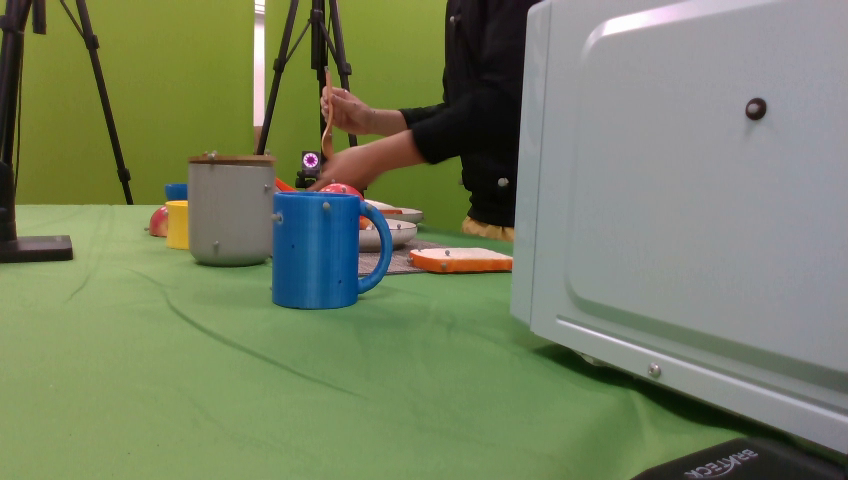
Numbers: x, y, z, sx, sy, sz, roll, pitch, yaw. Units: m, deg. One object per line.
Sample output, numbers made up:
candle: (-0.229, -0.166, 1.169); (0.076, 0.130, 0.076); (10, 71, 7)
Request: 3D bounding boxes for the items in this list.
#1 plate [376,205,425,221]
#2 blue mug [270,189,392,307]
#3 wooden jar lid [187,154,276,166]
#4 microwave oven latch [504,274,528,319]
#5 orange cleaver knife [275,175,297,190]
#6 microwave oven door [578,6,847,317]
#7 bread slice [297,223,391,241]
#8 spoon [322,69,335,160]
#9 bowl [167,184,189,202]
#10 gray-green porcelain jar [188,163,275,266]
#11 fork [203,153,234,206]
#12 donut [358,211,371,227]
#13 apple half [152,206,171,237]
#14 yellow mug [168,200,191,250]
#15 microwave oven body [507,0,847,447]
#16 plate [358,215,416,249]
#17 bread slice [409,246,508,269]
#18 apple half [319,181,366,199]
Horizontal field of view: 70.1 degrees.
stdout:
plate: (-0.102, -0.053, 1.299); (0.209, 0.038, 0.209); (1, 6, 0)
blue mug: (-0.089, 0.005, 0.588); (0.117, 0.106, 0.082); (1, 7, -10)
wooden jar lid: (-0.244, -0.097, 0.771); (0.108, 0.020, 0.108); (-1, 7, 0)
microwave oven latch: (0.100, 0.041, 0.470); (0.079, 0.029, 0.030); (-1, 7, -27)
orange cleaver knife: (-0.283, -0.087, 1.343); (0.212, 0.077, 0.012); (24, -16, -41)
microwave oven door: (0.294, -0.067, 0.570); (0.358, 0.243, 0.039); (-3, 9, -31)
bread slice: (-0.121, -0.014, 0.970); (0.106, 0.018, 0.135); (9, 9, 41)
spoon: (-0.190, -0.254, 1.217); (0.021, 0.193, 0.042); (-4, -12, 22)
bowl: (-0.408, -0.064, 1.154); (0.151, 0.077, 0.151); (2, 8, 0)
gray-green porcelain jar: (-0.246, -0.034, 0.779); (0.106, 0.126, 0.106); (2, 7, 0)
fork: (-0.480, -0.135, 1.411); (0.028, 0.018, 0.207); (1, -34, -1)
donut: (-0.132, -0.041, 0.959); (0.099, 0.048, 0.099); (3, 8, 0)
apple half: (-0.415, -0.034, 1.017); (0.081, 0.053, 0.074); (1, 10, -8)
yellow mug: (-0.320, -0.023, 0.904); (0.130, 0.064, 0.100); (8, 10, 36)
microwave oven body: (0.331, -0.042, 0.425); (0.444, 0.260, 0.324); (-2, 8, -31)
plate: (-0.116, -0.014, 0.967); (0.208, 0.039, 0.207); (2, 7, 0)
bread slice: (0.048, 0.022, 0.816); (0.132, 0.019, 0.104); (0, 7, -24)
apple half: (-0.130, -0.077, 0.952); (0.081, 0.033, 0.081); (2, 15, 0)
